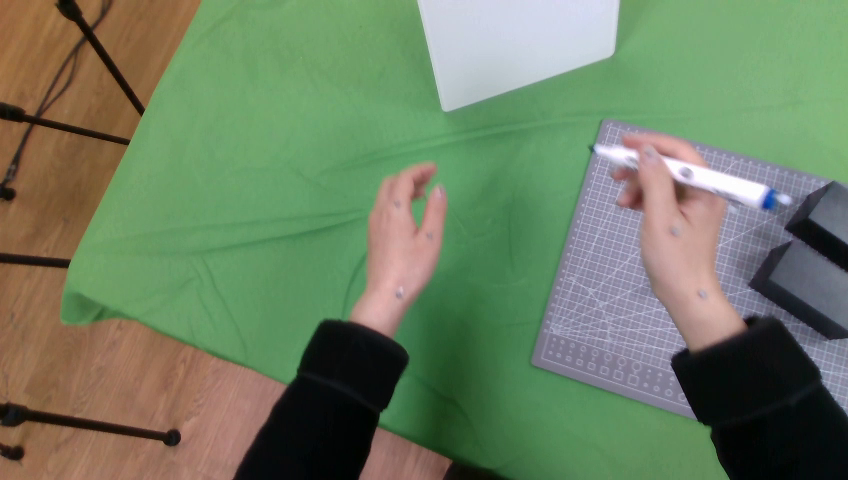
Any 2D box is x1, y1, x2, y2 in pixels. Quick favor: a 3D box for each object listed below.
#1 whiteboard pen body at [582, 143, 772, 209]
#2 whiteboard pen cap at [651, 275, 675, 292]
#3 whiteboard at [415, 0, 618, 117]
[{"bbox_3d":[0.168,-0.049,0.421,0.139,0.017,0.017,28,80,42],"label":"whiteboard pen body"},{"bbox_3d":[0.257,0.047,0.653,0.018,0.033,0.018,0,80,3],"label":"whiteboard pen cap"},{"bbox_3d":[0.080,-0.315,0.632,0.217,0.308,0.142,-18,58,1],"label":"whiteboard"}]
